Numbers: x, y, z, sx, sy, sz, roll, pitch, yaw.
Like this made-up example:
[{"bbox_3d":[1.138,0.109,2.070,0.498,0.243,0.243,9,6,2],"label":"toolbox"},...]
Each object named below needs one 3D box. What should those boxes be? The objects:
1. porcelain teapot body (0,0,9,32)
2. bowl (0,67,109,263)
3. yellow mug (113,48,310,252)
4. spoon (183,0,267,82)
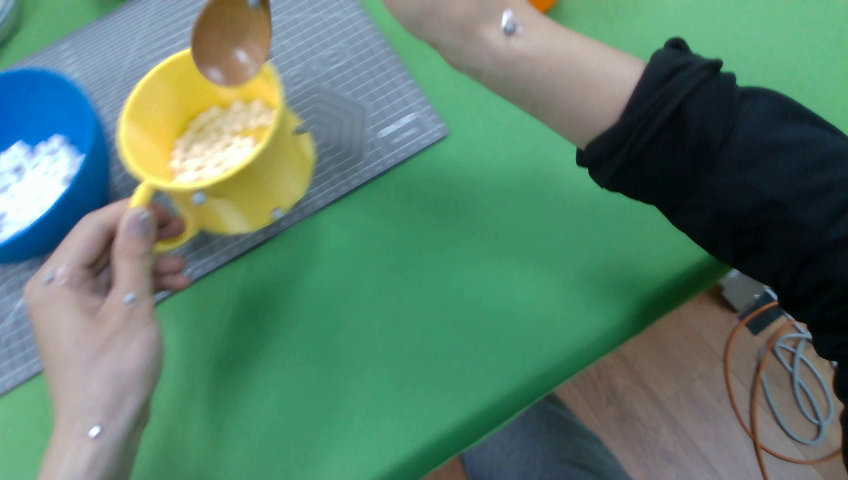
[{"bbox_3d":[-0.499,-0.239,0.486,0.205,0.227,0.144,-25,66,-1],"label":"porcelain teapot body"},{"bbox_3d":[-0.293,-0.042,0.447,0.151,0.077,0.150,-3,66,8],"label":"bowl"},{"bbox_3d":[-0.137,-0.049,0.377,0.099,0.064,0.130,26,75,16],"label":"yellow mug"},{"bbox_3d":[-0.070,-0.151,0.279,0.042,0.194,0.021,26,44,-18],"label":"spoon"}]
